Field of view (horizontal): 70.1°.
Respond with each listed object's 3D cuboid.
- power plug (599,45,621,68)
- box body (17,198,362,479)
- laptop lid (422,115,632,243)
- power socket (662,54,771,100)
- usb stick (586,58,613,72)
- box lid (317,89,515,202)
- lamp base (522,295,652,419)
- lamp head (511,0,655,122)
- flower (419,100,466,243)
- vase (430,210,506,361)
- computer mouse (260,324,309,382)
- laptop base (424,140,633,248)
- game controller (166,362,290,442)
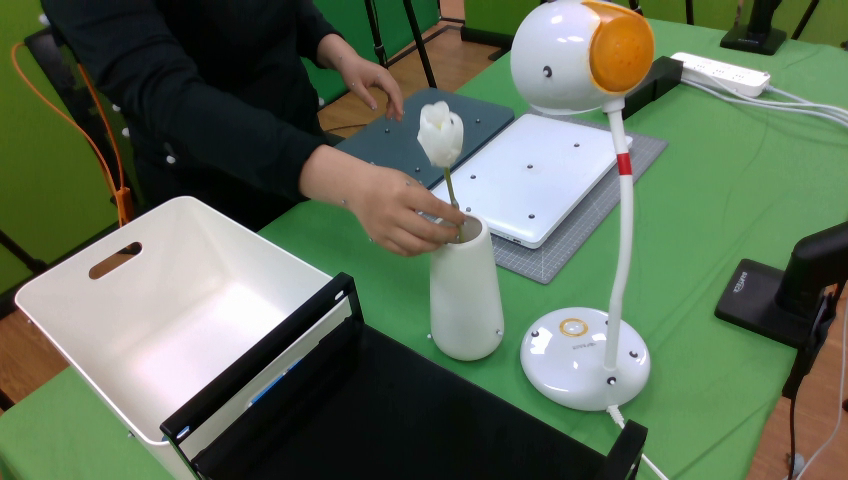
[{"bbox_3d":[0.437,-0.422,1.412,0.053,0.035,0.072,-19,75,-47],"label":"power plug"},{"bbox_3d":[-0.285,0.123,0.766,0.361,0.161,0.255,25,49,33],"label":"box body"},{"bbox_3d":[0.190,-0.126,1.081,0.239,0.013,0.358,23,48,34],"label":"laptop lid"},{"bbox_3d":[0.615,-0.349,1.284,0.072,0.033,0.225,-36,48,-29],"label":"power socket"},{"bbox_3d":[0.401,-0.399,1.380,0.059,0.027,0.021,1,48,20],"label":"usb stick"},{"bbox_3d":[-0.009,-0.207,1.236,0.261,0.015,0.372,23,48,32],"label":"box lid"},{"bbox_3d":[0.201,0.095,0.710,0.161,0.181,0.177,-16,43,-10],"label":"lamp base"},{"bbox_3d":[0.155,-0.168,0.564,0.113,0.113,0.122,-18,23,-12],"label":"lamp head"},{"bbox_3d":[0.043,-0.001,0.678,0.043,0.363,0.038,24,59,28],"label":"flower"},{"bbox_3d":[0.054,0.061,0.758,0.098,0.201,0.097,-3,40,3],"label":"vase"},{"bbox_3d":[-0.157,0.155,0.793,0.116,0.041,0.063,29,50,24],"label":"computer mouse"},{"bbox_3d":[0.193,-0.117,1.087,0.233,0.023,0.355,20,47,34],"label":"laptop base"},{"bbox_3d":[-0.233,0.210,0.736,0.096,0.052,0.155,27,52,32],"label":"game controller"}]
